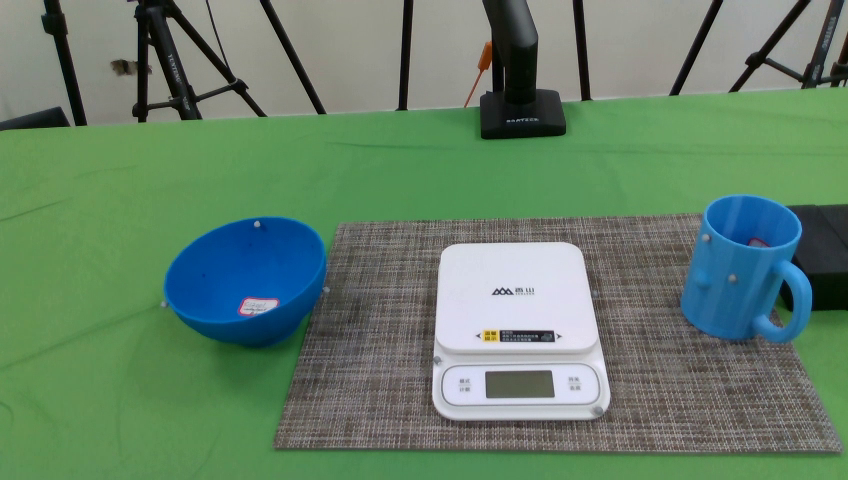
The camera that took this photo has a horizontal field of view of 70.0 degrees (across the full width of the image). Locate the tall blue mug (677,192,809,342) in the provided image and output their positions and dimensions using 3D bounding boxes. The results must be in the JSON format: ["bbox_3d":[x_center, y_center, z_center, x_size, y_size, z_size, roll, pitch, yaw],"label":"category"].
[{"bbox_3d":[0.287,0.029,0.533,0.106,0.109,0.078,28,50,34],"label":"tall blue mug"}]

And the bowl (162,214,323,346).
[{"bbox_3d":[-0.167,0.051,0.596,0.151,0.077,0.150,-3,40,3],"label":"bowl"}]

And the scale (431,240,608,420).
[{"bbox_3d":[0.083,0.075,0.566,0.148,0.032,0.199,-2,41,6],"label":"scale"}]
